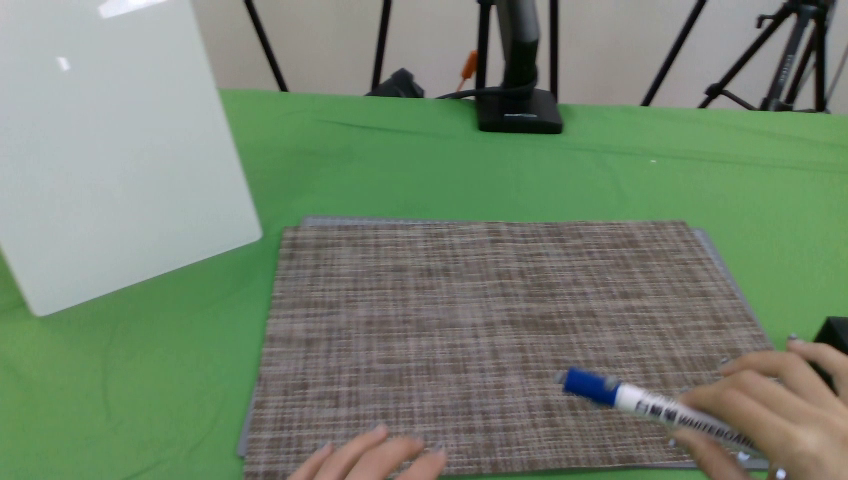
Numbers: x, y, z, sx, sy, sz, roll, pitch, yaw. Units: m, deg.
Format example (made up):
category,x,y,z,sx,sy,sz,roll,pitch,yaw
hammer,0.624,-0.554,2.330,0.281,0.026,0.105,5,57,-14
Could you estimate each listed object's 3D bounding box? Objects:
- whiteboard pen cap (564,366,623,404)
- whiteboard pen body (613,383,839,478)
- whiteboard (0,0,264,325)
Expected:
category,x,y,z,sx,sy,sz,roll,pitch,yaw
whiteboard pen cap,0.104,0.089,0.372,0.033,0.018,0.018,15,39,21
whiteboard pen body,0.160,0.105,0.352,0.140,0.017,0.017,15,40,23
whiteboard,-0.317,-0.116,0.580,0.217,0.307,0.142,-23,26,-28
